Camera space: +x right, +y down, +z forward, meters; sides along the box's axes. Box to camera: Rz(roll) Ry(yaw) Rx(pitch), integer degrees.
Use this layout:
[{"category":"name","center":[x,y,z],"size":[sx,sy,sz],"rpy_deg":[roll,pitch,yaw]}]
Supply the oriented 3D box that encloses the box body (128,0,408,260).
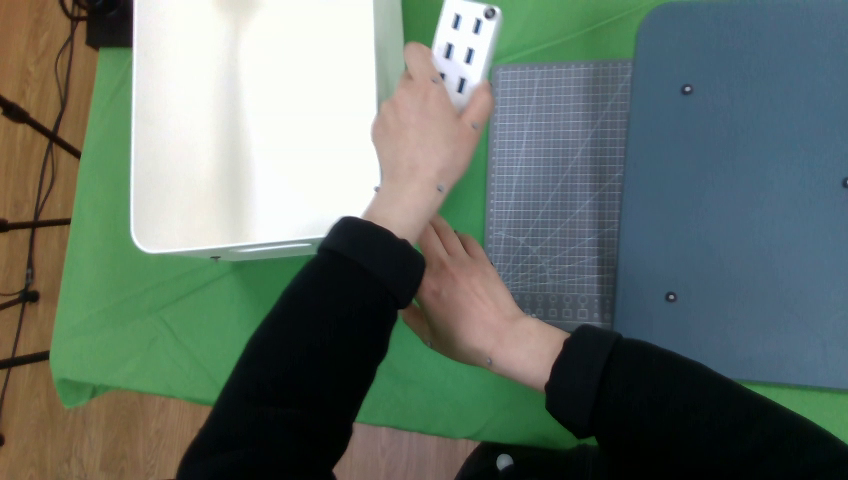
[{"category":"box body","center":[-0.158,-0.164,0.660],"size":[0.254,0.161,0.362],"rpy_deg":[-6,82,11]}]

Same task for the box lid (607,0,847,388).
[{"category":"box lid","center":[0.323,-0.043,0.589],"size":[0.262,0.015,0.372],"rpy_deg":[3,96,12]}]

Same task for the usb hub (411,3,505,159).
[{"category":"usb hub","center":[0.030,-0.137,0.523],"size":[0.049,0.025,0.125],"rpy_deg":[16,91,10]}]
